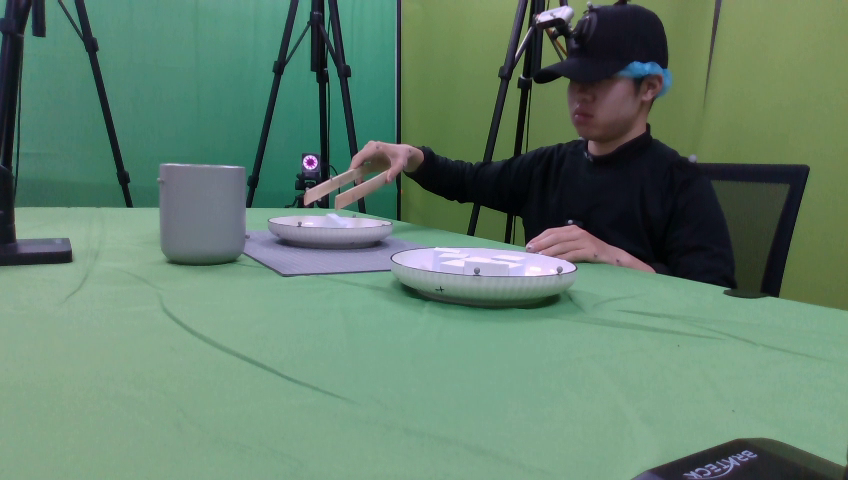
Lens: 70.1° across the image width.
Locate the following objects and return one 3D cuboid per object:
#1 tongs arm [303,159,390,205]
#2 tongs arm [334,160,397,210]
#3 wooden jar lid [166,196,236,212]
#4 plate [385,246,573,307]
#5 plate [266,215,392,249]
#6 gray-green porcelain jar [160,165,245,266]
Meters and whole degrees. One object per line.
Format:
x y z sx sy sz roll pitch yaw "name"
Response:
-0.137 -0.117 1.166 0.051 0.026 0.385 6 17 10 "tongs arm"
-0.105 -0.112 1.160 0.028 0.028 0.388 3 16 12 "tongs arm"
-0.369 -0.059 1.001 0.108 0.020 0.108 3 6 0 "wooden jar lid"
0.060 0.041 0.678 0.208 0.039 0.207 3 7 0 "plate"
-0.159 -0.015 1.019 0.209 0.038 0.209 3 7 0 "plate"
-0.291 -0.034 0.799 0.106 0.126 0.106 2 8 0 "gray-green porcelain jar"
